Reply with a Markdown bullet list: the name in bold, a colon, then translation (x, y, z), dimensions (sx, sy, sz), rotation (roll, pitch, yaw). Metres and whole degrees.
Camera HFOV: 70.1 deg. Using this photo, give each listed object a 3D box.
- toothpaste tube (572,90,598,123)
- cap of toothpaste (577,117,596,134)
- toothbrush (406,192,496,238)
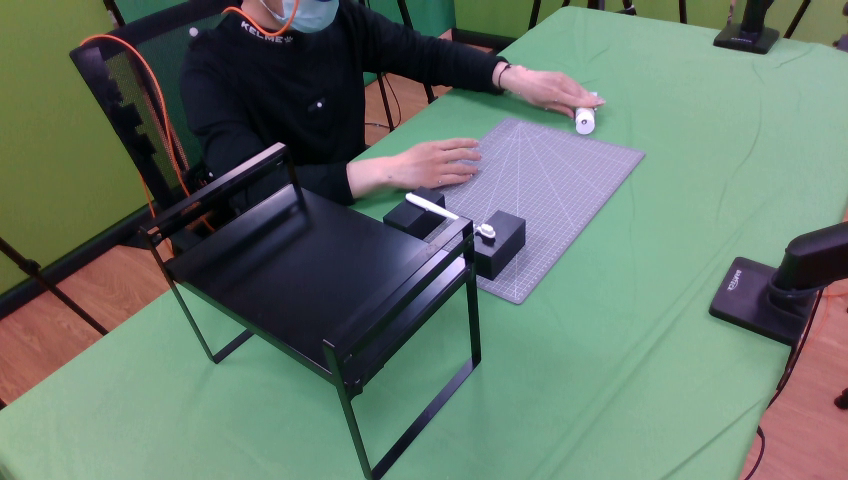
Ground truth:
- **toothpaste tube**: translation (0.331, -0.272, 1.234), dimensions (0.055, 0.034, 0.164), rotation (10, 39, 5)
- **cap of toothpaste**: translation (0.315, -0.224, 1.172), dimensions (0.037, 0.037, 0.011), rotation (-2, 41, 5)
- **toothbrush**: translation (0.037, -0.043, 0.937), dimensions (0.180, 0.017, 0.014), rotation (26, 66, 35)
